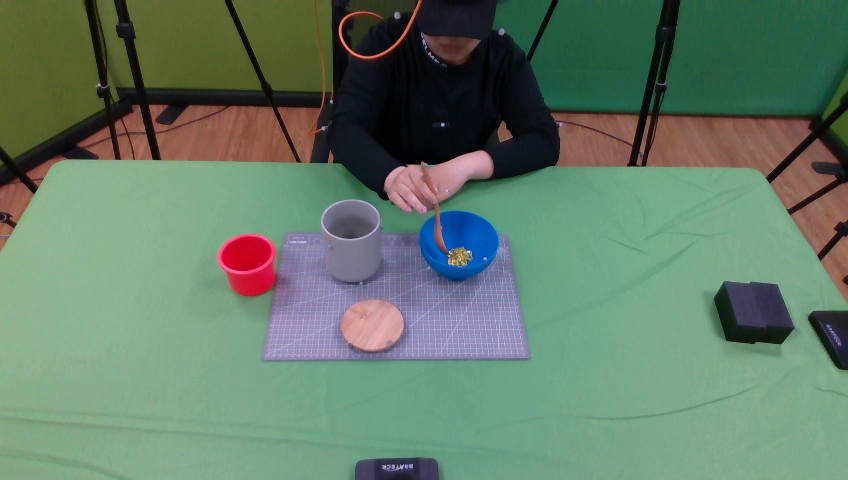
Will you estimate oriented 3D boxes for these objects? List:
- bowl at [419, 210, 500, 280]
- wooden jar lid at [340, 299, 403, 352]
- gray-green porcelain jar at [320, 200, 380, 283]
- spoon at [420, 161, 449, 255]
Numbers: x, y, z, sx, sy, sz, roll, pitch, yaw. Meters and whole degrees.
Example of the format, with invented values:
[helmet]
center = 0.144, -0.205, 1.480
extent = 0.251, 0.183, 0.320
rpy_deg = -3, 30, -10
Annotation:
[bowl]
center = 0.062, 0.022, 1.140
extent = 0.151, 0.077, 0.150
rpy_deg = 2, 46, -2
[wooden jar lid]
center = -0.090, 0.150, 1.046
extent = 0.108, 0.021, 0.107
rpy_deg = 3, 47, -3
[gray-green porcelain jar]
center = -0.132, 0.007, 1.106
extent = 0.106, 0.127, 0.105
rpy_deg = 2, 46, -2
[spoon]
center = 0.018, -0.054, 1.070
extent = 0.021, 0.194, 0.041
rpy_deg = -19, 31, -13
